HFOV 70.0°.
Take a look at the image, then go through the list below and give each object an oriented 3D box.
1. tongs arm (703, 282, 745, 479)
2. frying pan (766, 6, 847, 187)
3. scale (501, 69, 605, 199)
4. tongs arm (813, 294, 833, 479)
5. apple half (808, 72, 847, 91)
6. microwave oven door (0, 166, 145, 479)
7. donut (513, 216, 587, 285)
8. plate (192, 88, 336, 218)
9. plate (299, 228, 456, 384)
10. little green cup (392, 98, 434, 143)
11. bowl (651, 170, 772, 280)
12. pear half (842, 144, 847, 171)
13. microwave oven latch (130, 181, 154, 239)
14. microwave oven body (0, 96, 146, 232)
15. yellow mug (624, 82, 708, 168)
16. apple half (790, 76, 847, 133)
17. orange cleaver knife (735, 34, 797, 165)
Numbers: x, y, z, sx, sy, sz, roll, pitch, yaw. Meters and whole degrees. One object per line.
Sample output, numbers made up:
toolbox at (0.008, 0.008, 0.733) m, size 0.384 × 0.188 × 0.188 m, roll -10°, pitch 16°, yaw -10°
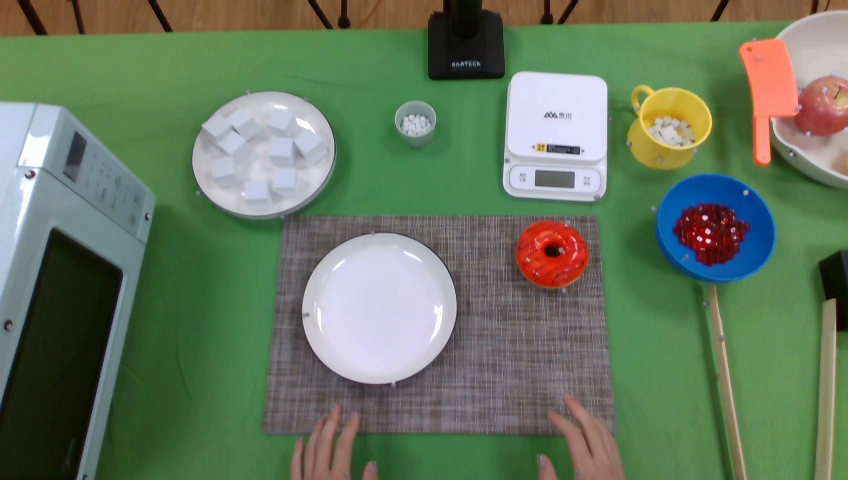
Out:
tongs arm at (0.398, 0.240, 0.749) m, size 0.051 × 0.026 × 0.382 m, roll 2°, pitch 71°, yaw -4°
frying pan at (0.662, -0.119, 0.832) m, size 0.307 × 0.103 × 0.483 m, roll -26°, pitch 64°, yaw -6°
scale at (0.192, -0.159, 0.896) m, size 0.148 × 0.032 × 0.199 m, roll 4°, pitch 71°, yaw 3°
tongs arm at (0.484, 0.249, 0.750) m, size 0.028 × 0.028 × 0.385 m, roll 17°, pitch 72°, yaw -2°
apple half at (0.590, -0.214, 0.877) m, size 0.081 × 0.082 × 0.033 m, roll 40°, pitch 79°, yaw 14°
microwave oven door at (-0.418, 0.128, 0.678) m, size 0.039 × 0.245 × 0.353 m, roll 2°, pitch 70°, yaw 3°
donut at (0.170, 0.014, 0.825) m, size 0.099 × 0.048 × 0.098 m, roll -1°, pitch 71°, yaw 3°
plate at (-0.231, -0.125, 0.891) m, size 0.208 × 0.039 × 0.206 m, roll 0°, pitch 70°, yaw 1°
plate at (-0.060, 0.088, 0.807) m, size 0.209 × 0.038 × 0.207 m, roll 0°, pitch 70°, yaw 2°
little green cup at (-0.016, -0.175, 0.903) m, size 0.061 × 0.039 × 0.061 m, roll -1°, pitch 70°, yaw 2°
bowl at (0.373, -0.010, 0.815) m, size 0.151 × 0.077 × 0.150 m, roll 0°, pitch 71°, yaw 2°
pear half at (0.623, -0.119, 0.825) m, size 0.076 × 0.110 × 0.056 m, roll 34°, pitch 75°, yaw 17°
microwave oven latch at (-0.400, -0.042, 0.845) m, size 0.030 × 0.030 × 0.078 m, roll 4°, pitch 71°, yaw 2°
microwave oven body at (-0.561, 0.084, 0.702) m, size 0.326 × 0.262 × 0.439 m, roll 3°, pitch 71°, yaw 2°
yellow mug at (0.340, -0.176, 0.880) m, size 0.100 × 0.064 × 0.130 m, roll -31°, pitch 72°, yaw -8°
apple half at (0.564, -0.186, 0.869) m, size 0.080 × 0.075 × 0.053 m, roll 41°, pitch 79°, yaw 11°
orange cleaver knife at (0.480, -0.201, 0.846) m, size 0.077 × 0.012 × 0.210 m, roll 4°, pitch 71°, yaw 5°
